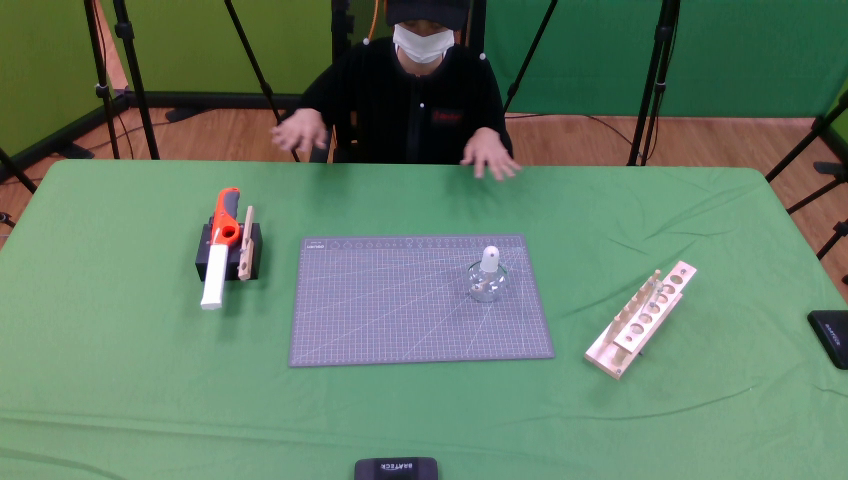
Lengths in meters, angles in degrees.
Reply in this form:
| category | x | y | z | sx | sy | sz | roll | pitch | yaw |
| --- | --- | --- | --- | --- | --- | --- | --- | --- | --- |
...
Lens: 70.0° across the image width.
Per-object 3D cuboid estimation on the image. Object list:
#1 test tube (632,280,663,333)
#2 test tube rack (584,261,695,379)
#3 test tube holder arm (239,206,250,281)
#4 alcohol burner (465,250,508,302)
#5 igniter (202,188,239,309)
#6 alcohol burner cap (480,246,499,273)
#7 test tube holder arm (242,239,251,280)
| category | x | y | z | sx | sy | sz | roll | pitch | yaw |
| --- | --- | --- | --- | --- | --- | --- | --- | --- | --- |
| test tube | 0.363 | 0.121 | 0.997 | 0.017 | 0.151 | 0.017 | 2 | 44 | -1 |
| test tube rack | 0.380 | 0.127 | 1.062 | 0.066 | 0.085 | 0.242 | 34 | 53 | 26 |
| test tube holder arm | -0.327 | 0.002 | 1.106 | 0.013 | 0.015 | 0.177 | -7 | 47 | -7 |
| alcohol burner | 0.114 | 0.057 | 1.085 | 0.078 | 0.120 | 0.077 | 2 | 48 | -2 |
| igniter | -0.367 | 0.006 | 1.095 | 0.057 | 0.025 | 0.274 | -2 | 49 | -6 |
| alcohol burner cap | 0.117 | 0.032 | 1.060 | 0.034 | 0.048 | 0.033 | 3 | 42 | -3 |
| test tube holder arm | -0.314 | 0.034 | 1.076 | 0.010 | 0.015 | 0.087 | -6 | 47 | -6 |
